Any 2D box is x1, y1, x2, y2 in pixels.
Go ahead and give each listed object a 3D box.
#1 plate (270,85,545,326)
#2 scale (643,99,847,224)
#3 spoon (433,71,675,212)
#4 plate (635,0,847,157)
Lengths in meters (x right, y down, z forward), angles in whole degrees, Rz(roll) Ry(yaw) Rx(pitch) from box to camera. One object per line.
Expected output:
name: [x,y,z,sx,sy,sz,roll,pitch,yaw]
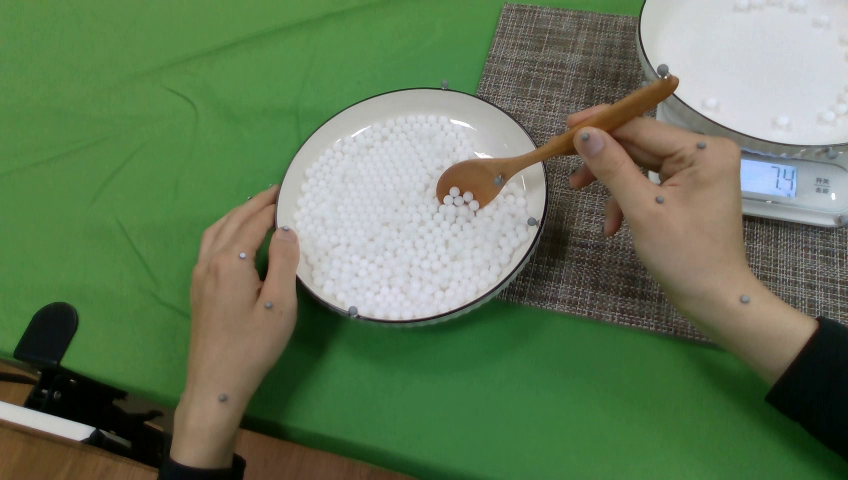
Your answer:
plate: [-0.013,-0.028,0.466,0.209,0.038,0.207,-3,62,6]
scale: [0.260,-0.112,0.480,0.148,0.032,0.199,10,65,12]
spoon: [0.076,-0.060,0.404,0.042,0.193,0.021,50,50,-17]
plate: [0.265,-0.144,0.459,0.207,0.039,0.206,-2,62,5]
